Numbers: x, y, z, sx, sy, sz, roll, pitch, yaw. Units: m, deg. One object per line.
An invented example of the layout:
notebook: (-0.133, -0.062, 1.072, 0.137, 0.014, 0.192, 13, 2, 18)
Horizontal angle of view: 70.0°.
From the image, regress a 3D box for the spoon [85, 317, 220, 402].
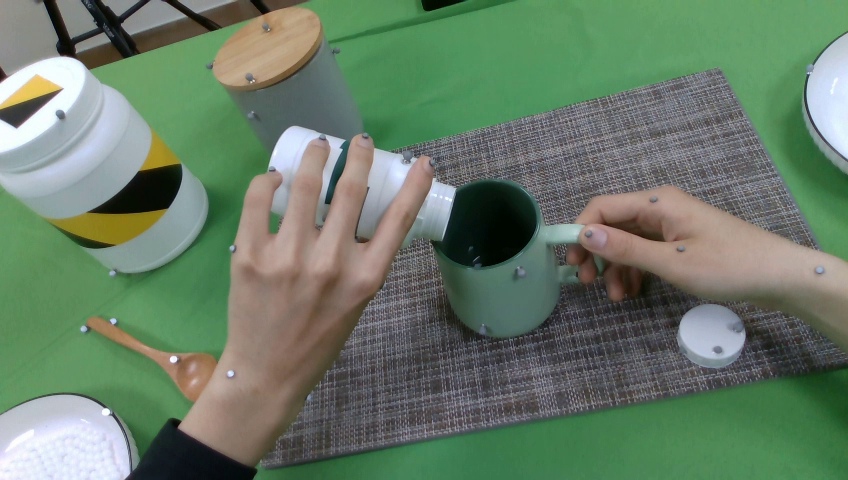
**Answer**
spoon: (-0.254, 0.100, 0.556, 0.192, 0.022, 0.041, 16, 83, 26)

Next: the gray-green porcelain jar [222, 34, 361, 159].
gray-green porcelain jar: (-0.127, -0.132, 0.604, 0.105, 0.128, 0.105, -9, 51, 12)

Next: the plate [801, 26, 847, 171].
plate: (0.412, -0.105, 0.475, 0.207, 0.039, 0.205, -8, 55, 13)

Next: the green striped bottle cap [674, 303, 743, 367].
green striped bottle cap: (0.204, 0.067, 0.435, 0.044, 0.020, 0.044, -8, 50, 10)

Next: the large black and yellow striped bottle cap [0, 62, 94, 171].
large black and yellow striped bottle cap: (-0.336, -0.107, 0.515, 0.115, 0.019, 0.114, -8, 54, 11)

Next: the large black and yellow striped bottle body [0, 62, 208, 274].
large black and yellow striped bottle body: (-0.313, -0.063, 0.583, 0.130, 0.186, 0.129, -8, 56, 12)

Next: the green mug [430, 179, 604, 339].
green mug: (0.070, 0.014, 0.456, 0.125, 0.106, 0.091, -6, 55, 14)

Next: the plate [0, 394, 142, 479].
plate: (-0.314, 0.227, 0.480, 0.209, 0.038, 0.207, -8, 55, 12)

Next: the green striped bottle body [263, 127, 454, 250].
green striped bottle body: (-0.042, -0.032, 0.413, 0.119, 0.063, 0.063, 16, 62, 3)

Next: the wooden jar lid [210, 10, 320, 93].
wooden jar lid: (-0.143, -0.169, 0.556, 0.108, 0.021, 0.107, -10, 54, 15)
